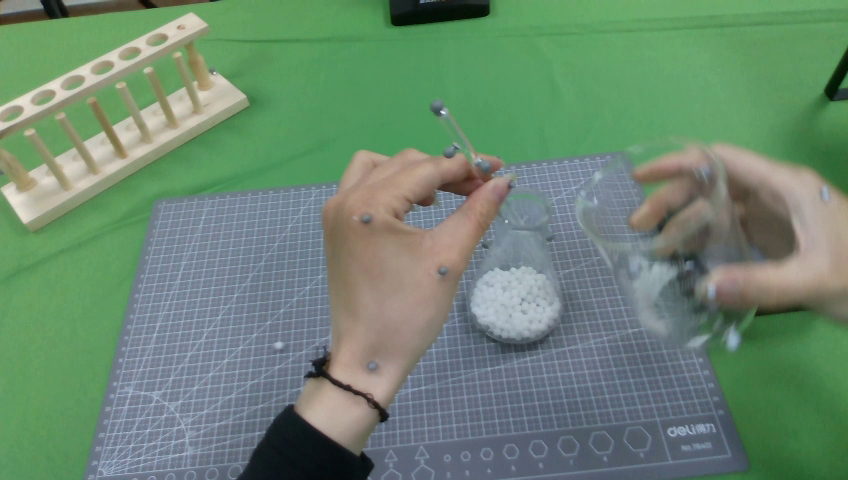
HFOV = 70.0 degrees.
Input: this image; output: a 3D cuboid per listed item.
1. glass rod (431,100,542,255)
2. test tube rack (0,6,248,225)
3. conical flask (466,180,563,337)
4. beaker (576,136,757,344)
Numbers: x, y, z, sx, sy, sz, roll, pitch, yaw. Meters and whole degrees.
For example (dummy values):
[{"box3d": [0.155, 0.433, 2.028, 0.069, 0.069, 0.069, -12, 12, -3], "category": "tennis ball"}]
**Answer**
[{"box3d": [0.044, -0.026, 0.358, 0.008, 0.201, 0.008, -9, 66, 21], "category": "glass rod"}, {"box3d": [-0.303, -0.126, 0.591, 0.242, 0.086, 0.066, -38, 59, -22], "category": "test tube rack"}, {"box3d": [0.067, 0.011, 0.433, 0.075, 0.123, 0.074, -2, 53, 3], "category": "conical flask"}, {"box3d": [0.137, 0.005, 0.338, 0.083, 0.101, 0.074, 10, 58, 46], "category": "beaker"}]
